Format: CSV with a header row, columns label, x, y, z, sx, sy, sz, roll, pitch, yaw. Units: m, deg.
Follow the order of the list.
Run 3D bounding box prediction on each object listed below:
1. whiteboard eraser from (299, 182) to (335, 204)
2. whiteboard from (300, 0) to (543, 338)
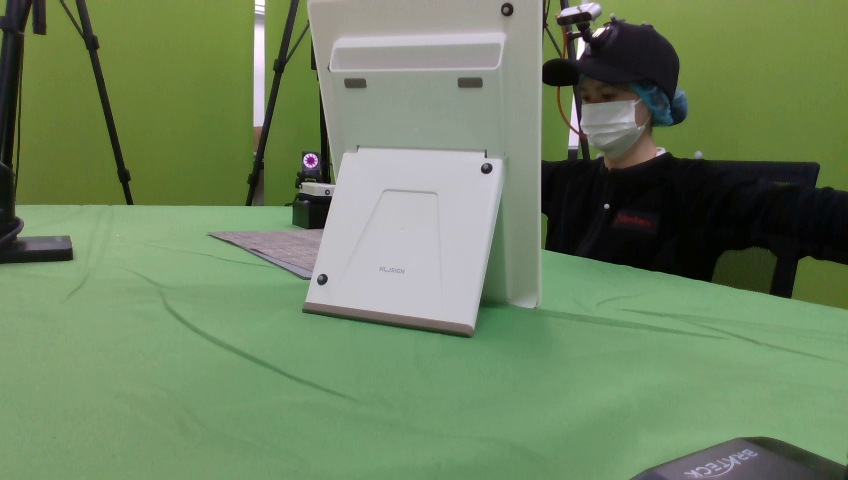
label,x,y,z,sx,sy,sz,roll,pitch,yaw
whiteboard eraser,-0.214,-0.097,1.231,0.056,0.042,0.112,-3,9,-27
whiteboard,-0.020,-0.050,0.523,0.216,0.305,0.144,6,27,22
